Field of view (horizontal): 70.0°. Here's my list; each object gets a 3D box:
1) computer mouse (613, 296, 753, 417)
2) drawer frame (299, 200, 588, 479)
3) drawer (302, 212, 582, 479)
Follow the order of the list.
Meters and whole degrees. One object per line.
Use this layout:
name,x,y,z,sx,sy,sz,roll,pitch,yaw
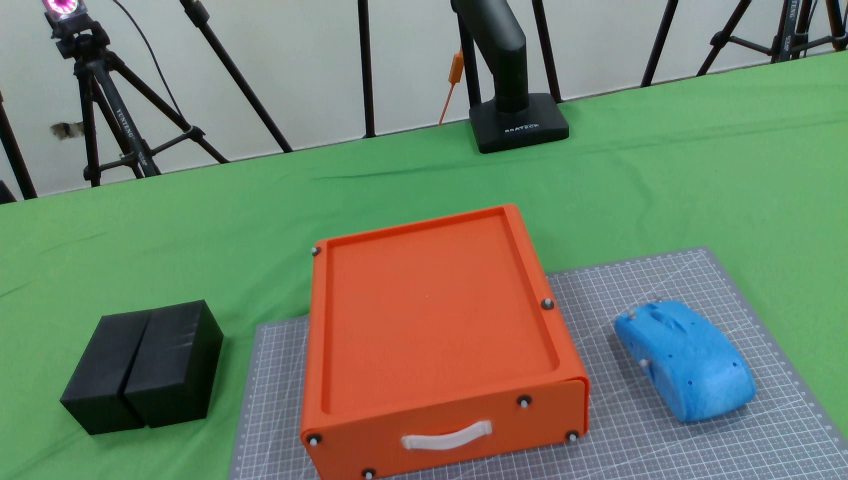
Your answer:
computer mouse,0.201,0.085,0.481,0.063,0.041,0.116,-17,35,-3
drawer frame,0.007,0.073,0.507,0.202,0.083,0.211,-12,38,0
drawer,0.007,0.075,0.506,0.194,0.074,0.209,-12,38,1
